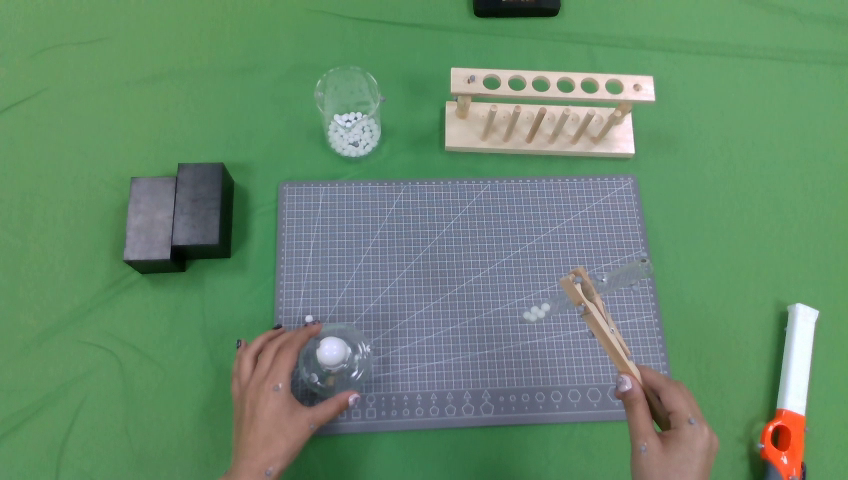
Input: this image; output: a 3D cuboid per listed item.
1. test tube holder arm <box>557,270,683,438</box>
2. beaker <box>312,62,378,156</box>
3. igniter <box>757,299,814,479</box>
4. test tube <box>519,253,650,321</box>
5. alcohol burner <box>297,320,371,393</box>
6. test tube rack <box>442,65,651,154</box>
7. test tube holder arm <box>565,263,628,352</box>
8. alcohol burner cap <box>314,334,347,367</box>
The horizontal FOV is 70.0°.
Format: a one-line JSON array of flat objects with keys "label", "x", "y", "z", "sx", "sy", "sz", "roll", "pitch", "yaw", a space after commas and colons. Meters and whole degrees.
[{"label": "test tube holder arm", "x": 0.170, "y": 0.100, "z": 0.521, "sx": 0.013, "sy": 0.015, "sz": 0.179, "roll": -39, "pitch": 97, "yaw": -36}, {"label": "beaker", "x": -0.091, "y": -0.149, "z": 0.725, "sx": 0.074, "sy": 0.101, "sz": 0.083, "roll": 1, "pitch": 72, "yaw": -3}, {"label": "igniter", "x": 0.404, "y": 0.198, "z": 0.678, "sx": 0.057, "sy": 0.025, "sz": 0.275, "roll": 22, "pitch": 72, "yaw": -6}, {"label": "test tube", "x": 0.131, "y": 0.044, "z": 0.521, "sx": 0.017, "sy": 0.150, "sz": 0.017, "roll": 14, "pitch": 62, "yaw": -27}, {"label": "alcohol burner", "x": -0.094, "y": 0.117, "z": 0.626, "sx": 0.078, "sy": 0.119, "sz": 0.077, "roll": 2, "pitch": 70, "yaw": -4}, {"label": "test tube rack", "x": 0.147, "y": -0.159, "z": 0.750, "sx": 0.242, "sy": 0.085, "sz": 0.066, "roll": 2, "pitch": 72, "yaw": -3}, {"label": "test tube holder arm", "x": 0.149, "y": 0.060, "z": 0.521, "sx": 0.010, "sy": 0.015, "sz": 0.088, "roll": -30, "pitch": 91, "yaw": -37}, {"label": "alcohol burner cap", "x": -0.093, "y": 0.107, "z": 0.592, "sx": 0.034, "sy": 0.048, "sz": 0.033, "roll": 1, "pitch": 76, "yaw": -5}]
